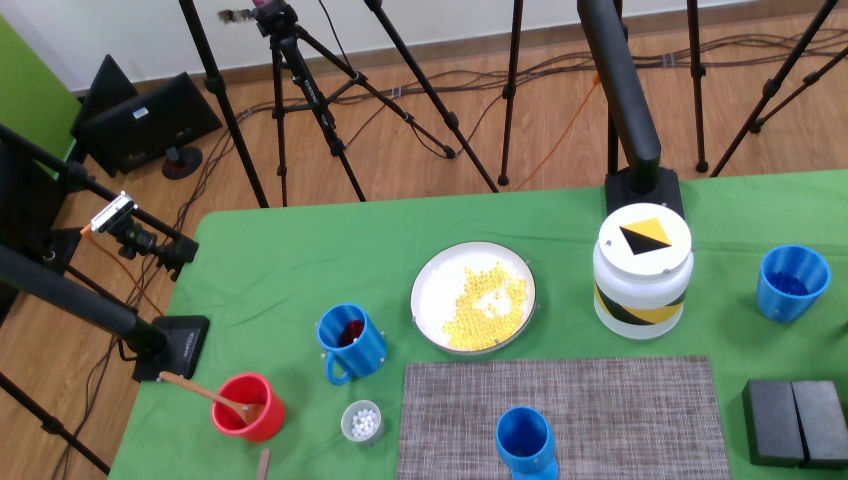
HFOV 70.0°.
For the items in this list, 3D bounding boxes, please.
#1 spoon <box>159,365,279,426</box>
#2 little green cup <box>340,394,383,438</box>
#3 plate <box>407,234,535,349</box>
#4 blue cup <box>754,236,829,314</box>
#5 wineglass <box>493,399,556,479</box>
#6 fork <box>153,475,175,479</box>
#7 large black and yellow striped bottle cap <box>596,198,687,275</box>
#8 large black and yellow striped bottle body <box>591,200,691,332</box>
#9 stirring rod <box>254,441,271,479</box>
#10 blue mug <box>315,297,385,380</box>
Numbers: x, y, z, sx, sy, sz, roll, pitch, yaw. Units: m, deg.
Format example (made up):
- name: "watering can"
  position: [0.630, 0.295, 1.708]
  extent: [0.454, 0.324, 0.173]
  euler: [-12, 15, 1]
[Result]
- name: "spoon"
  position: [-0.314, 0.235, 0.934]
  extent: [0.195, 0.021, 0.041]
  euler: [31, 63, -17]
- name: "little green cup"
  position: [-0.092, 0.269, 0.916]
  extent: [0.061, 0.039, 0.061]
  euler: [-7, 56, 11]
- name: "plate"
  position: [0.077, 0.086, 0.992]
  extent: [0.209, 0.038, 0.207]
  euler: [-7, 57, 11]
- name: "blue cup"
  position: [0.508, 0.057, 0.854]
  extent: [0.092, 0.101, 0.092]
  euler: [-8, 56, 13]
- name: "wineglass"
  position: [0.131, 0.262, 0.772]
  extent: [0.073, 0.174, 0.073]
  euler: [-7, 55, 11]
- name: "fork"
  position: [-0.271, 0.364, 0.834]
  extent: [0.208, 0.018, 0.028]
  euler: [29, 68, -19]
- name: "large black and yellow striped bottle cap"
  position: [0.287, -0.007, 0.802]
  extent: [0.115, 0.019, 0.114]
  euler: [-7, 55, 10]
- name: "large black and yellow striped bottle body"
  position: [0.308, 0.039, 0.870]
  extent: [0.130, 0.186, 0.129]
  euler: [-7, 56, 11]
- name: "stirring rod"
  position: [-0.231, 0.362, 0.821]
  extent: [0.014, 0.006, 0.174]
  euler: [-4, 56, 13]
- name: "blue mug"
  position: [-0.122, 0.163, 0.953]
  extent: [0.082, 0.107, 0.116]
  euler: [14, 62, 23]
